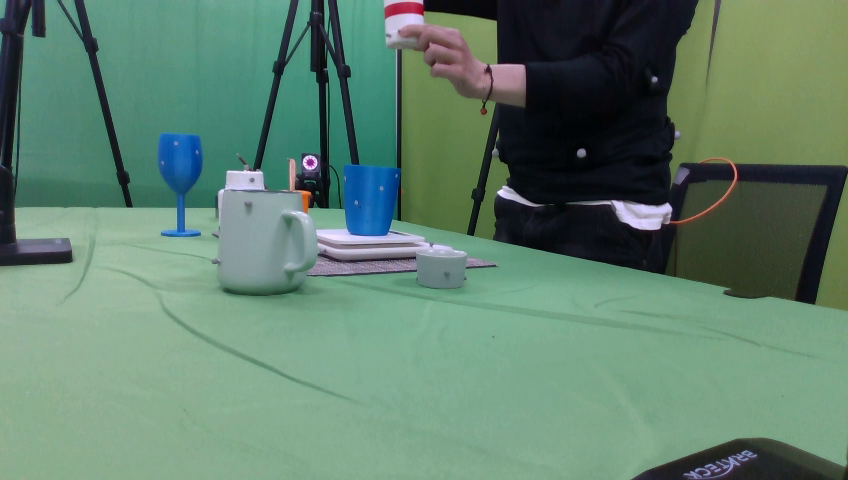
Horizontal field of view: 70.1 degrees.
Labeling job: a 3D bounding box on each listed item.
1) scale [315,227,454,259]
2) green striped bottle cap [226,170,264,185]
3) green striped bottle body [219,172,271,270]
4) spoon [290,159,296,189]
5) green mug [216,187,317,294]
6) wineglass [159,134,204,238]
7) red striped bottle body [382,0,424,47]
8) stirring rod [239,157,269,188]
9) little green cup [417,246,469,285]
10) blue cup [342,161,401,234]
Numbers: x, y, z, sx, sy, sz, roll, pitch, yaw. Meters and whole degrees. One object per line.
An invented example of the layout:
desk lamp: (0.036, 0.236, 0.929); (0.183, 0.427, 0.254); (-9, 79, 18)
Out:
scale: (-0.066, 0.001, 0.906); (0.202, 0.031, 0.148); (-2, 8, -31)
green striped bottle cap: (-0.222, -0.076, 0.748); (0.044, 0.020, 0.044); (0, 7, 0)
green striped bottle body: (-0.223, -0.025, 0.755); (0.063, 0.119, 0.063); (2, 7, 0)
spoon: (-0.273, -0.102, 1.252); (0.042, 0.193, 0.021); (7, -38, -17)
green mug: (-0.157, 0.000, 0.629); (0.124, 0.105, 0.093); (8, 9, 37)
wineglass: (-0.415, -0.093, 1.040); (0.074, 0.172, 0.073); (2, 7, 0)
red striped bottle body: (-0.035, -0.367, 0.940); (0.063, 0.119, 0.063); (-5, 6, 1)
stirring rod: (-0.309, -0.098, 1.209); (0.006, 0.177, 0.014); (-39, 29, -4)
little green cup: (0.021, 0.029, 0.701); (0.061, 0.038, 0.061); (1, 6, 0)
blue cup: (-0.079, -0.061, 0.882); (0.093, 0.100, 0.092); (4, 6, 0)
